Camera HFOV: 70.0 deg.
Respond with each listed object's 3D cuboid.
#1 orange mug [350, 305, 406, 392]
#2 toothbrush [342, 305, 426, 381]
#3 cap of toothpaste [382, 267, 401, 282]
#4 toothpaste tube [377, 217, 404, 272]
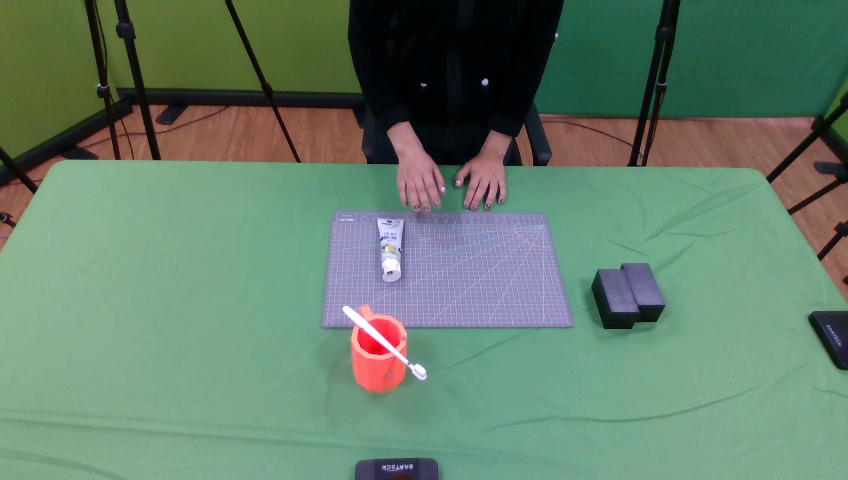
[{"bbox_3d":[-0.080,0.168,0.978,0.083,0.101,0.125,-16,54,-18],"label":"orange mug"},{"bbox_3d":[-0.064,0.153,0.922,0.181,0.017,0.014,36,56,27],"label":"toothbrush"},{"bbox_3d":[-0.060,0.063,1.119,0.037,0.037,0.011,-9,50,-12],"label":"cap of toothpaste"},{"bbox_3d":[-0.063,0.008,1.179,0.055,0.034,0.164,5,42,-9],"label":"toothpaste tube"}]
